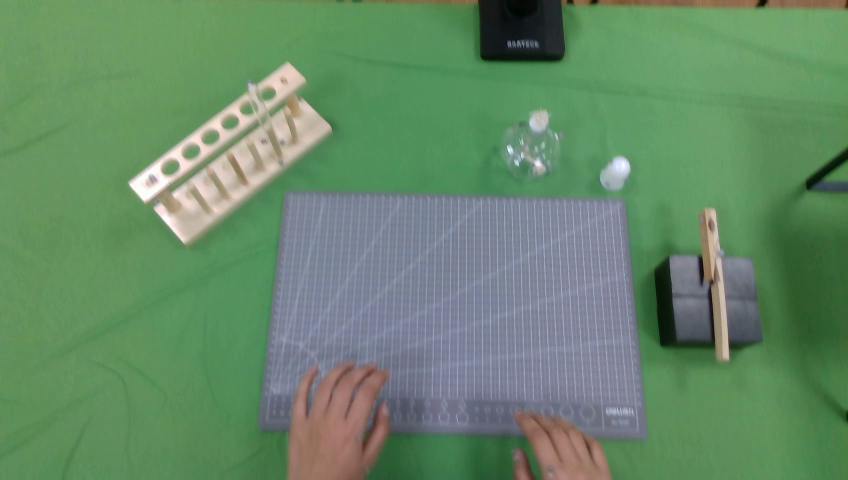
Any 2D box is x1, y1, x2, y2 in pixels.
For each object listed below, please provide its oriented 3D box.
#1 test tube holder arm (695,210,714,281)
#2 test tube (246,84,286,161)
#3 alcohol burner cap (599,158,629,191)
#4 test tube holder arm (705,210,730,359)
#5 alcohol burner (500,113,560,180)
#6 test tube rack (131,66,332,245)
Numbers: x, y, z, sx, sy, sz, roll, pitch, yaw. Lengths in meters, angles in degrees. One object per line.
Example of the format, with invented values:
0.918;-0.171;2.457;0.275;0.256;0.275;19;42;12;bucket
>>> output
0.336;0.007;0.723;0.010;0.015;0.087;4;71;-7;test tube holder arm
-0.190;-0.140;0.734;0.017;0.151;0.017;0;67;0;test tube
0.251;-0.088;0.795;0.034;0.048;0.033;0;70;-1;alcohol burner cap
0.341;0.050;0.710;0.013;0.015;0.177;3;72;-7;test tube holder arm
0.138;-0.124;0.768;0.078;0.120;0.077;1;69;-2;alcohol burner
-0.236;-0.107;0.770;0.242;0.086;0.066;-41;75;-14;test tube rack
